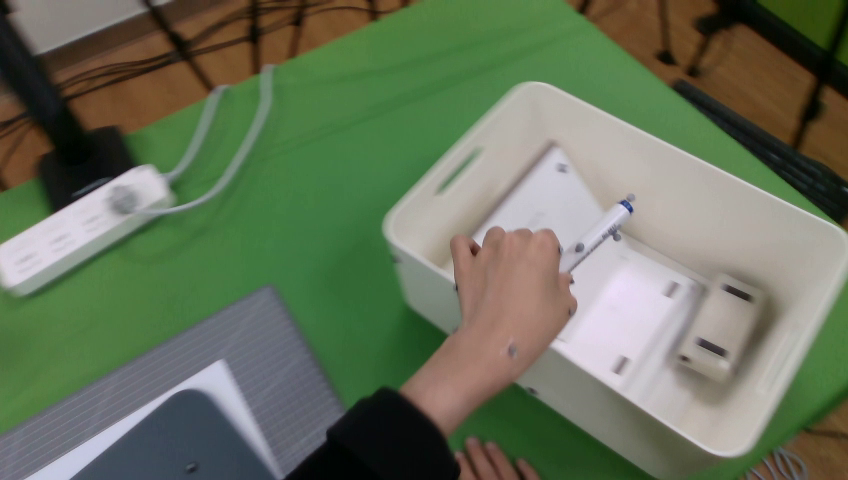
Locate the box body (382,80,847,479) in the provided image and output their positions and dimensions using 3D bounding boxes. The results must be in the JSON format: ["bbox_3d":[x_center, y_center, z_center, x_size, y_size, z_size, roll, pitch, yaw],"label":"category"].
[{"bbox_3d":[0.173,0.033,0.620,0.361,0.162,0.253,32,65,21],"label":"box body"}]

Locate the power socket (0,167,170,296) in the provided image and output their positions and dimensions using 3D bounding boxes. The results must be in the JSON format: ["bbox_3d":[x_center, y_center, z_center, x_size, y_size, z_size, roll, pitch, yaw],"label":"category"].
[{"bbox_3d":[-0.426,-0.014,0.758,0.226,0.033,0.071,-36,64,-18],"label":"power socket"}]

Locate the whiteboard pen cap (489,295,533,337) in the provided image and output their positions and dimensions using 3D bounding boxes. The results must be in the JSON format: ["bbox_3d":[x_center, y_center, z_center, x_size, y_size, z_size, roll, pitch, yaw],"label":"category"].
[{"bbox_3d":[0.067,0.057,0.458,0.033,0.018,0.018,-42,64,-9],"label":"whiteboard pen cap"}]

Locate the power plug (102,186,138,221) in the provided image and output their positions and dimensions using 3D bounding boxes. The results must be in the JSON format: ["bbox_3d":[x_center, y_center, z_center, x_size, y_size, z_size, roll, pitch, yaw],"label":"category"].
[{"bbox_3d":[-0.369,-0.035,0.742,0.035,0.053,0.072,-26,67,-13],"label":"power plug"}]

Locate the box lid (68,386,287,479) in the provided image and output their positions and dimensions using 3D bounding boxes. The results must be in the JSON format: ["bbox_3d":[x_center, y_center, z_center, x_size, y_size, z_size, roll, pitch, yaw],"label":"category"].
[{"bbox_3d":[-0.210,0.333,0.545,0.263,0.015,0.368,-41,66,-20],"label":"box lid"}]

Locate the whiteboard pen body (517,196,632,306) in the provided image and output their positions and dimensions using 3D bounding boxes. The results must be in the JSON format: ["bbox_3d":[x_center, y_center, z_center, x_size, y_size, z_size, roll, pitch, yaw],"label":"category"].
[{"bbox_3d":[0.109,0.016,0.466,0.140,0.017,0.017,-42,64,-10],"label":"whiteboard pen body"}]

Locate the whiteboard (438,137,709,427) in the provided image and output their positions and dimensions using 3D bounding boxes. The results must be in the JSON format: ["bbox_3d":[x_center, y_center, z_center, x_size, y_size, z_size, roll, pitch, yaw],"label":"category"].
[{"bbox_3d":[0.168,0.030,0.634,0.303,0.145,0.216,31,64,22],"label":"whiteboard"}]

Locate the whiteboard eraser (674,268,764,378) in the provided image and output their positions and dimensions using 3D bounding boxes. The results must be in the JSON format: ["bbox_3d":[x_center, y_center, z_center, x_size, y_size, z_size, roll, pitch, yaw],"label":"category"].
[{"bbox_3d":[0.309,0.086,0.632,0.055,0.042,0.112,23,63,27],"label":"whiteboard eraser"}]
